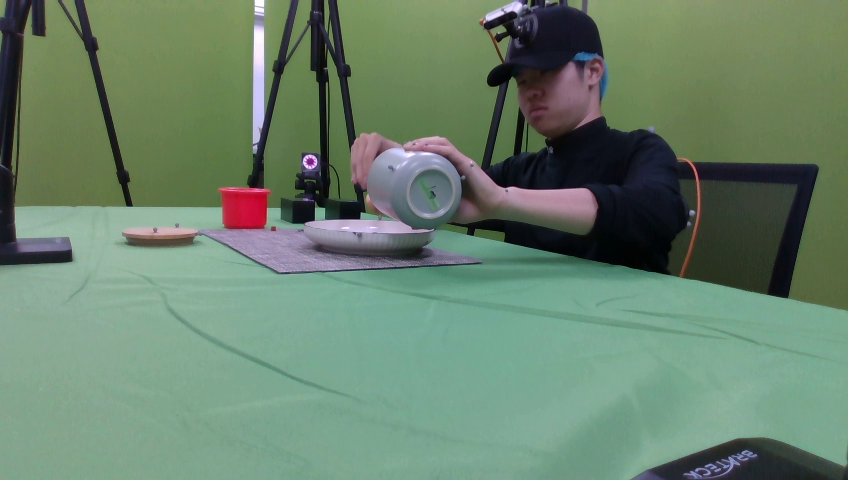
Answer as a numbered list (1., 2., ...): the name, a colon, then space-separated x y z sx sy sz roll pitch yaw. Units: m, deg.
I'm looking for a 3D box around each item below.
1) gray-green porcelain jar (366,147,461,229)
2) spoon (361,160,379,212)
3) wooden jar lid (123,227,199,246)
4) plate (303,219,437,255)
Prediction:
1. gray-green porcelain jar: -0.015 -0.074 0.847 0.106 0.106 0.126 0 11 -22
2. spoon: -0.088 -0.095 1.011 0.042 0.021 0.193 17 21 -23
3. wooden jar lid: -0.408 -0.006 0.942 0.108 0.020 0.108 3 6 0
4. plate: -0.084 -0.005 0.952 0.208 0.039 0.207 3 7 0
